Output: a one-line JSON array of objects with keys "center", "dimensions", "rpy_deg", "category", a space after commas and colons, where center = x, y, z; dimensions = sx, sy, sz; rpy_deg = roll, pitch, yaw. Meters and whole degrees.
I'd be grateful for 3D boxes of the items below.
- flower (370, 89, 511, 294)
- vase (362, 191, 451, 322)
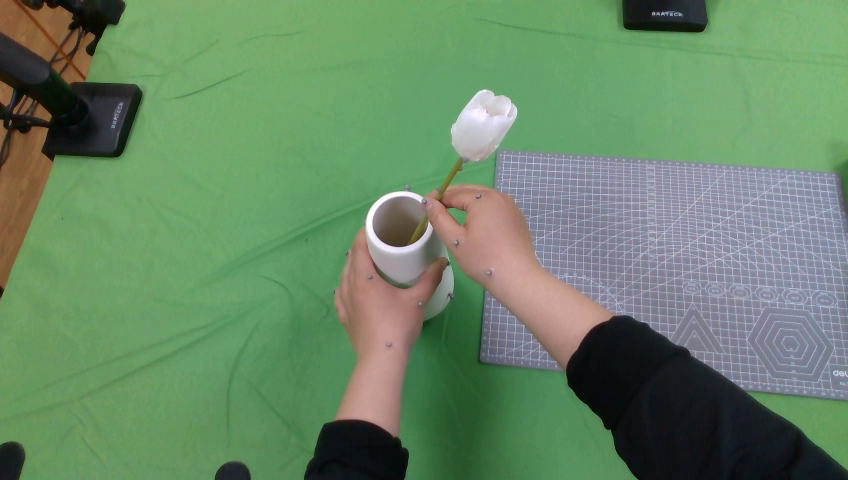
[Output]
[{"center": [-0.008, -0.018, 0.594], "dimensions": [0.044, 0.363, 0.038], "rpy_deg": [-20, 71, -28], "category": "flower"}, {"center": [-0.018, 0.022, 0.673], "dimensions": [0.098, 0.201, 0.097], "rpy_deg": [-1, 66, 2], "category": "vase"}]
